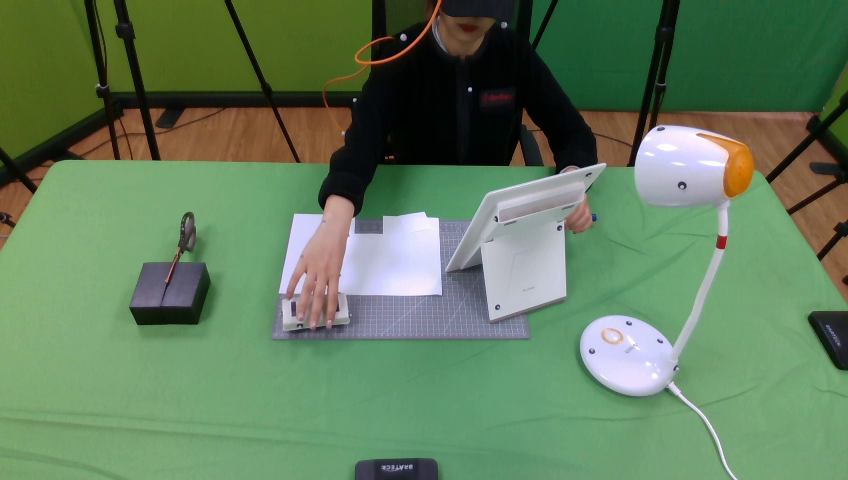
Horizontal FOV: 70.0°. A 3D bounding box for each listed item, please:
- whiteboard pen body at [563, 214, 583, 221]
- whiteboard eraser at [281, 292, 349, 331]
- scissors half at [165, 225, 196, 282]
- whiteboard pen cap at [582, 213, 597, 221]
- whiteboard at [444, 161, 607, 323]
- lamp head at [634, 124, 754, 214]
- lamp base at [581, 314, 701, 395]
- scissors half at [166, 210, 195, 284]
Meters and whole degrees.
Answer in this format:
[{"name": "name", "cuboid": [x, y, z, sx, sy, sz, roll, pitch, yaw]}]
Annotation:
[{"name": "whiteboard pen body", "cuboid": [0.283, -0.047, 1.258, 0.141, 0.017, 0.017, -1, 46, -3]}, {"name": "whiteboard eraser", "cuboid": [-0.188, 0.125, 1.045, 0.113, 0.042, 0.055, -6, 49, -10]}, {"name": "scissors half", "cuboid": [-0.444, 0.026, 1.108, 0.013, 0.040, 0.174, 4, 30, -5]}, {"name": "whiteboard pen cap", "cuboid": [0.342, -0.047, 1.260, 0.033, 0.018, 0.018, -3, 46, -3]}, {"name": "whiteboard", "cuboid": [0.186, 0.025, 1.029, 0.217, 0.306, 0.143, -14, 68, -18]}, {"name": "lamp head", "cuboid": [0.351, -0.089, 0.775, 0.112, 0.113, 0.122, -30, 30, -28]}, {"name": "lamp base", "cuboid": [0.361, 0.145, 0.972, 0.178, 0.181, 0.160, 34, 53, 23]}, {"name": "scissors half", "cuboid": [-0.440, 0.010, 1.094, 0.013, 0.040, 0.174, 8, 49, -9]}]
